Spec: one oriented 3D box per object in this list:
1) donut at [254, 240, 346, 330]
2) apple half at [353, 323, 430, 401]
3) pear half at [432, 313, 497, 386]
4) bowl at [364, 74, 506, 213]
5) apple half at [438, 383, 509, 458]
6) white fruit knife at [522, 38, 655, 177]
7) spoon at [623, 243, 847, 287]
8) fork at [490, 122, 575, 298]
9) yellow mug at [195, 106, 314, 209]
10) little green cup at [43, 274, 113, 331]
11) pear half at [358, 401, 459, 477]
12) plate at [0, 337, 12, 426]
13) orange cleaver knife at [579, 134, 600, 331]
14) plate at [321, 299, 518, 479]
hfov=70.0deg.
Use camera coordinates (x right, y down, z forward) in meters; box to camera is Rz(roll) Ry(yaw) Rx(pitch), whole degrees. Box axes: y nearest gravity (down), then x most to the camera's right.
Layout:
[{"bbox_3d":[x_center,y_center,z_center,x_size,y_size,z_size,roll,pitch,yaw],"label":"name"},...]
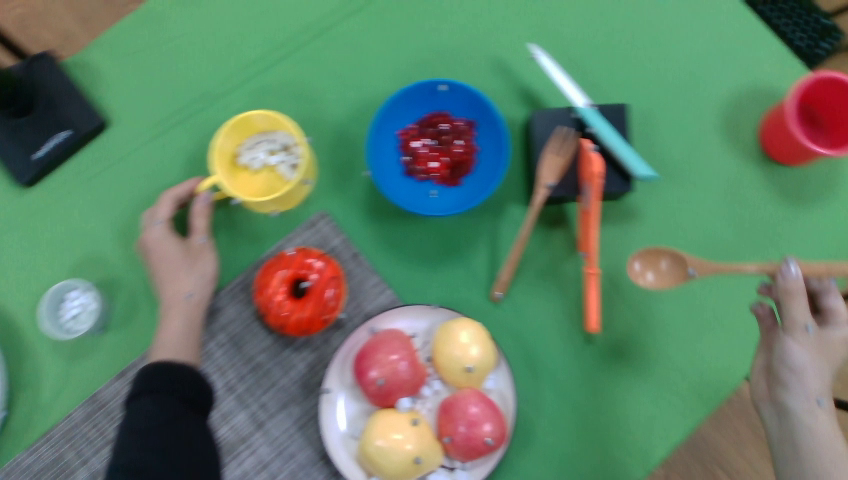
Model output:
[{"bbox_3d":[-0.135,0.049,0.659,0.099,0.048,0.099,0,83,0],"label":"donut"},{"bbox_3d":[-0.036,0.131,0.636,0.075,0.053,0.080,-23,86,-4],"label":"apple half"},{"bbox_3d":[0.040,0.123,0.643,0.070,0.031,0.088,-11,92,20],"label":"pear half"},{"bbox_3d":[0.011,-0.097,0.671,0.151,0.077,0.151,0,83,-2],"label":"bowl"},{"bbox_3d":[0.045,0.191,0.631,0.081,0.033,0.081,1,94,18],"label":"apple half"},{"bbox_3d":[0.176,-0.146,0.664,0.027,0.016,0.207,-35,82,-35],"label":"white fruit knife"},{"bbox_3d":[0.274,0.023,0.529,0.192,0.022,0.041,0,81,36],"label":"spoon"},{"bbox_3d":[0.114,-0.029,0.660,0.028,0.018,0.208,19,102,-7],"label":"fork"},{"bbox_3d":[-0.191,-0.081,0.669,0.131,0.064,0.099,-30,84,-4],"label":"yellow mug"},{"bbox_3d":[-0.372,0.069,0.656,0.061,0.039,0.061,0,82,-1],"label":"little green cup"},{"bbox_3d":[-0.011,0.214,0.629,0.110,0.056,0.076,23,86,-3],"label":"pear half"},{"bbox_3d":[-0.537,0.158,0.639,0.208,0.039,0.207,0,82,-1],"label":"plate"},{"bbox_3d":[0.179,-0.007,0.660,0.012,0.077,0.212,-4,107,2],"label":"orange cleaver knife"},{"bbox_3d":[-0.004,0.167,0.650,0.209,0.038,0.208,0,82,-2],"label":"plate"}]
